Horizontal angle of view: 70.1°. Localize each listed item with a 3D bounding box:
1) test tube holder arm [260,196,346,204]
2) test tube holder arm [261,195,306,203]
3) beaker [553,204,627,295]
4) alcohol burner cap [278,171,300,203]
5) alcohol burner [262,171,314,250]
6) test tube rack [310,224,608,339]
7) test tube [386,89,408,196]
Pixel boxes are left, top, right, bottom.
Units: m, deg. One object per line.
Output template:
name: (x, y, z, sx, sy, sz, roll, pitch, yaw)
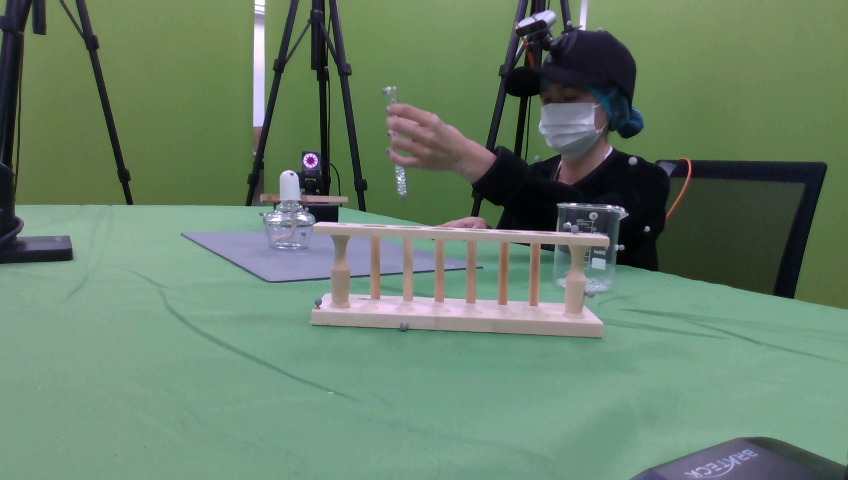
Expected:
test tube holder arm: (-0.239, -0.081, 1.214, 0.179, 0.015, 0.013, -1, 0, -32)
test tube holder arm: (-0.275, -0.081, 1.185, 0.088, 0.015, 0.010, -1, 0, -32)
beaker: (0.191, 0.010, 0.708, 0.083, 0.100, 0.074, 8, 9, 33)
alcohol burner cap: (-0.203, -0.080, 0.909, 0.034, 0.048, 0.034, -1, 3, 0)
alcohol burner: (-0.205, -0.045, 0.913, 0.078, 0.119, 0.078, 1, 9, 0)
test tube rack: (0.028, 0.032, 0.528, 0.242, 0.085, 0.067, 3, 7, 0)
test tube: (-0.037, -0.135, 0.848, 0.017, 0.150, 0.017, -5, 17, 2)
